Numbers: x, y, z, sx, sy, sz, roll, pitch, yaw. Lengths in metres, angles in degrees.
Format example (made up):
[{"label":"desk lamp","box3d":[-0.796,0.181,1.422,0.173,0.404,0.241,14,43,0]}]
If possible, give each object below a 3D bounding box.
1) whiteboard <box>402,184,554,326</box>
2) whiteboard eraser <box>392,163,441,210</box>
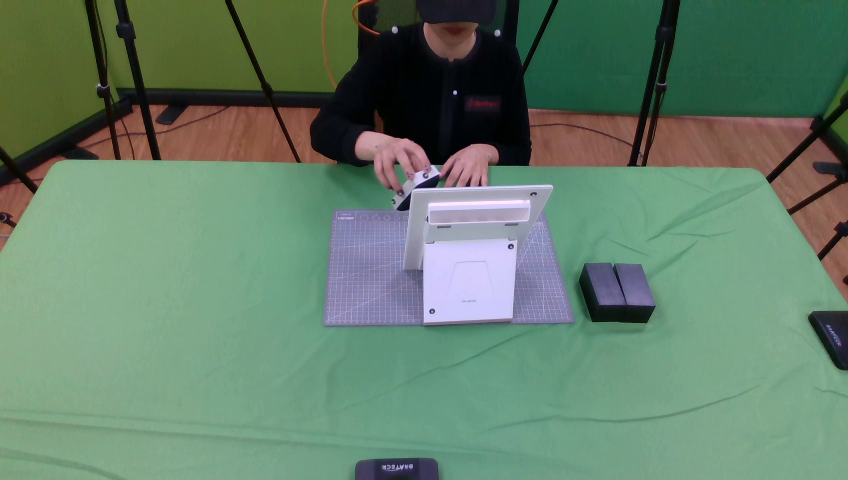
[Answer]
[{"label":"whiteboard","box3d":[0.081,0.044,1.005,0.217,0.306,0.143,-1,65,-6]},{"label":"whiteboard eraser","box3d":[-0.012,-0.089,1.068,0.055,0.113,0.042,-33,85,-30]}]
